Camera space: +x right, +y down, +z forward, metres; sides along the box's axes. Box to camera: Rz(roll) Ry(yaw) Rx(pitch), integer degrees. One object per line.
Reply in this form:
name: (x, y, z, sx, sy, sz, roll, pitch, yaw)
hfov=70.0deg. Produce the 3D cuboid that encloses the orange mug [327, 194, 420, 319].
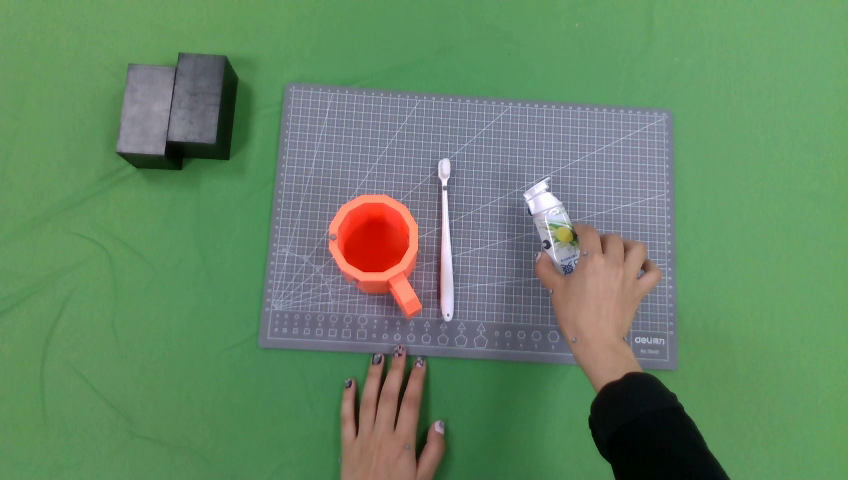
orange mug: (-0.042, 0.021, 0.615, 0.083, 0.101, 0.125, -30, 77, -8)

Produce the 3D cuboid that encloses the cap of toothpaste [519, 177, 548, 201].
cap of toothpaste: (0.118, -0.055, 0.645, 0.037, 0.037, 0.011, -34, 82, -9)

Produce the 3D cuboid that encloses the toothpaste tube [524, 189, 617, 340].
toothpaste tube: (0.148, 0.022, 0.643, 0.055, 0.034, 0.165, -23, 88, -1)

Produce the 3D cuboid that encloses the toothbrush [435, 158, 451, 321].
toothbrush: (0.022, -0.003, 0.664, 0.014, 0.016, 0.181, 2, 80, -17)
